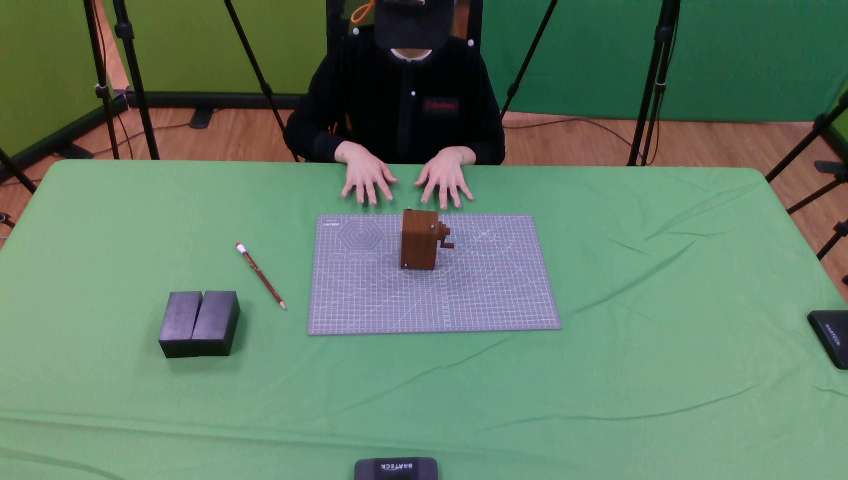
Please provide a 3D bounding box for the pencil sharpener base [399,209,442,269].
[{"bbox_3d":[-0.007,0.000,1.134,0.077,0.107,0.061,3,46,-1],"label":"pencil sharpener base"}]

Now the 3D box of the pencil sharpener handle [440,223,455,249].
[{"bbox_3d":[0.045,-0.007,1.127,0.030,0.068,0.036,3,52,-1],"label":"pencil sharpener handle"}]

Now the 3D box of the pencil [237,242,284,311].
[{"bbox_3d":[-0.303,0.066,1.122,0.012,0.012,0.193,-26,54,-26],"label":"pencil"}]
